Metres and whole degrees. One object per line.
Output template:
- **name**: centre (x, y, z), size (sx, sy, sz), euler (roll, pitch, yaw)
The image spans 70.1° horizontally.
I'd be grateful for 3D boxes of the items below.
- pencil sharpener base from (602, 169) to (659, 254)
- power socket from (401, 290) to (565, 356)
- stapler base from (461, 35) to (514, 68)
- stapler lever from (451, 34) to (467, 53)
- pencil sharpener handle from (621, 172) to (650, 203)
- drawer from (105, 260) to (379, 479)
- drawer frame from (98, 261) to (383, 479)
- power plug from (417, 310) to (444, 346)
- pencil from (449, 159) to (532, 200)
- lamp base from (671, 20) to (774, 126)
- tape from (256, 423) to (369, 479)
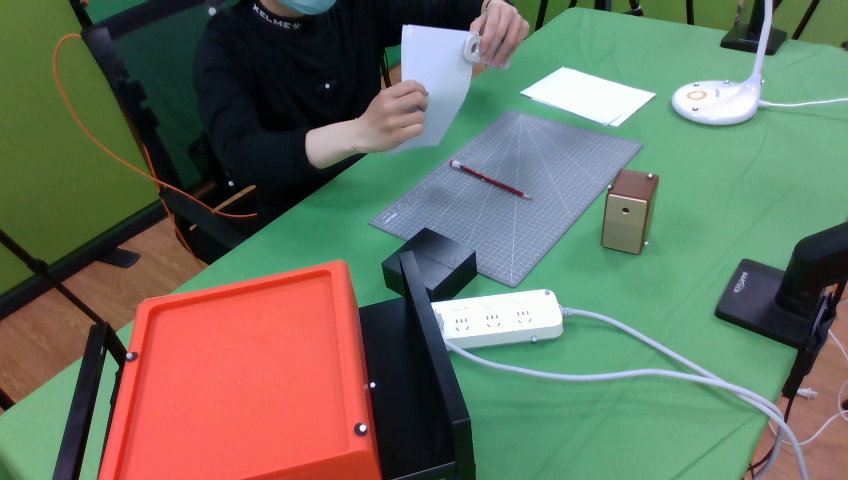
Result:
- **pencil sharpener base**: centre (0.312, -0.044, 0.913), size (0.061, 0.107, 0.077), euler (14, 45, 24)
- **power socket**: centre (0.080, 0.112, 0.822), size (0.227, 0.033, 0.072), euler (-6, 41, 0)
- **stapler base**: centre (0.103, -0.321, 1.025), size (0.131, 0.041, 0.024), euler (-7, 36, -47)
- **stapler lever**: centre (0.091, -0.329, 1.036), size (0.040, 0.027, 0.119), euler (34, 27, 27)
- **pencil sharpener handle**: centre (0.328, -0.087, 0.940), size (0.036, 0.068, 0.030), euler (30, 49, 7)
- **drawer**: centre (-0.150, 0.127, 0.525), size (0.195, 0.073, 0.210), euler (-11, 41, -5)
- **drawer frame**: centre (-0.149, 0.129, 0.520), size (0.202, 0.083, 0.212), euler (-12, 41, -6)
- **power plug**: centre (0.006, 0.122, 0.785), size (0.035, 0.053, 0.072), euler (-1, 40, 8)
- **pencil**: centre (0.117, -0.109, 1.091), size (0.192, 0.012, 0.012), euler (31, 53, 34)
- **lamp base**: centre (0.581, -0.332, 1.154), size (0.179, 0.181, 0.160), euler (2, 41, 7)
- **tape**: centre (-0.121, 0.263, 0.660), size (0.117, 0.053, 0.116), euler (-4, 40, 4)
